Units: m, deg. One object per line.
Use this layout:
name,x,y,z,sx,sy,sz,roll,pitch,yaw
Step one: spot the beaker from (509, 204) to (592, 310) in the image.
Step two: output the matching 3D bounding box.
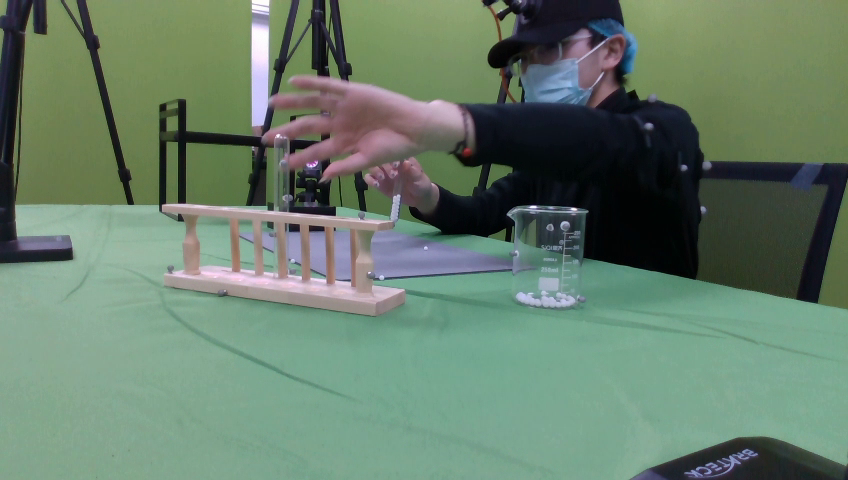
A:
beaker,0.125,0.016,0.613,0.084,0.100,0.074,1,7,-5

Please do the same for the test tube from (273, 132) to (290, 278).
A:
test tube,-0.146,-0.034,0.617,0.017,0.150,0.017,2,8,0

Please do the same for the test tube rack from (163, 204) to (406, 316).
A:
test tube rack,-0.141,0.013,0.601,0.241,0.085,0.067,5,8,21

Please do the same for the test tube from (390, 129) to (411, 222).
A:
test tube,-0.039,-0.103,0.976,0.017,0.150,0.017,8,9,-1
